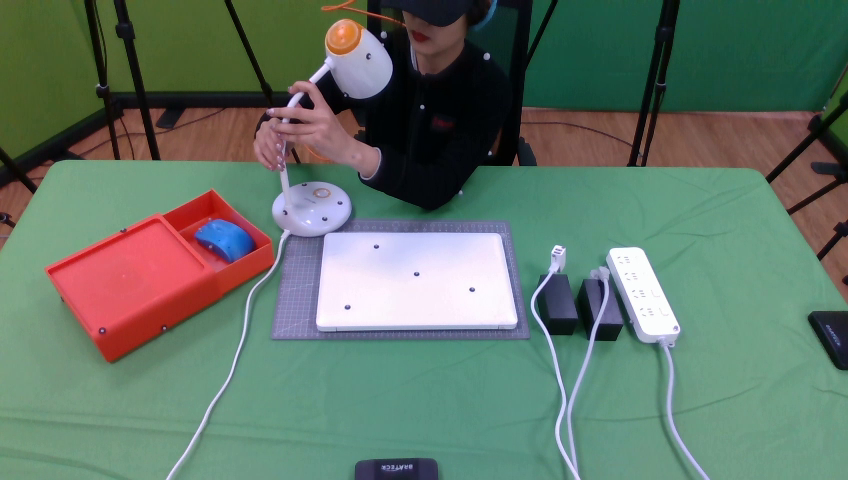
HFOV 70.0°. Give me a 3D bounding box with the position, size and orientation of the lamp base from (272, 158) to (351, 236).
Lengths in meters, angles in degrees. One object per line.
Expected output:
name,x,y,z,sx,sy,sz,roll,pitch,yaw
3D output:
lamp base,-0.233,-0.111,1.176,0.160,0.181,0.178,18,50,15

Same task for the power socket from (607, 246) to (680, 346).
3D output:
power socket,0.403,0.096,1.123,0.072,0.033,0.225,-2,46,-5

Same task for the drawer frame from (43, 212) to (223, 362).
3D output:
drawer frame,-0.497,0.073,1.049,0.213,0.083,0.200,-35,57,-31

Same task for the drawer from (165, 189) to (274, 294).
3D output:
drawer,-0.418,0.021,1.109,0.193,0.073,0.211,37,55,27

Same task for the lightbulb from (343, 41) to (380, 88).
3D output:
lightbulb,-0.117,-0.319,1.089,0.059,0.108,0.059,-6,67,14

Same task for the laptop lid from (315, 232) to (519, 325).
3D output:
laptop lid,-0.015,0.065,1.118,0.357,0.013,0.240,1,43,-3

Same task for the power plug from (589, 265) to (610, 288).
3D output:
power plug,0.317,0.073,1.108,0.035,0.053,0.072,26,33,13

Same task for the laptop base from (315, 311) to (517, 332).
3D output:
laptop base,-0.016,0.075,1.125,0.355,0.023,0.234,0,42,-4

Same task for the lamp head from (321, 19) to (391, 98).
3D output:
lamp head,-0.130,-0.325,1.068,0.112,0.123,0.112,-4,76,17

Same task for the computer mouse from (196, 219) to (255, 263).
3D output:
computer mouse,-0.380,-0.004,1.154,0.116,0.041,0.062,27,53,27

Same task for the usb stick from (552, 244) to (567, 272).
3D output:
usb stick,0.251,0.039,1.123,0.021,0.059,0.027,14,47,24
